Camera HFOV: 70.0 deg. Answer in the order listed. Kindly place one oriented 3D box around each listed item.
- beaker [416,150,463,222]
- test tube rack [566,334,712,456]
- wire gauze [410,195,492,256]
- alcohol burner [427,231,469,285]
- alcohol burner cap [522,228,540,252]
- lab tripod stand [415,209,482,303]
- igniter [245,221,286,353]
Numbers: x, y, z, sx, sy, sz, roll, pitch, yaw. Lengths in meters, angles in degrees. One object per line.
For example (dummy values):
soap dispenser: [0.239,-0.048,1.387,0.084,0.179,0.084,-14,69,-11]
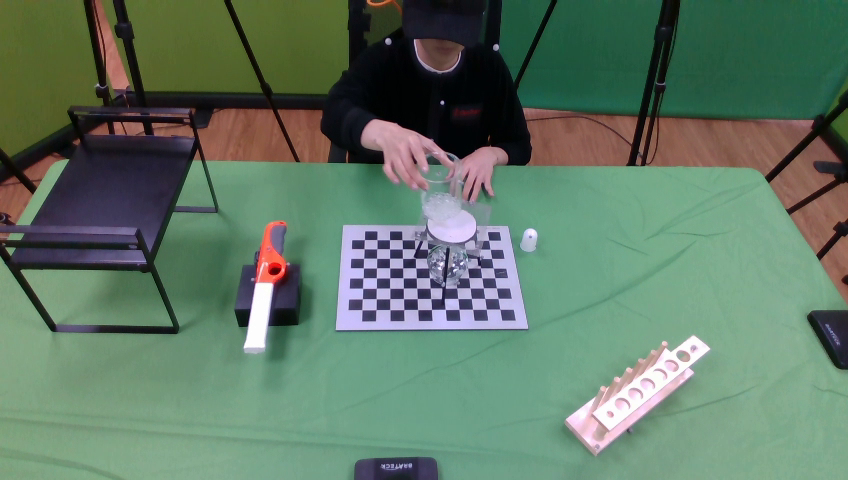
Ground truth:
beaker: [0.028,-0.088,1.002,0.074,0.101,0.083,4,49,9]
test tube rack: [0.338,0.228,0.951,0.242,0.085,0.066,-26,52,-26]
wire gauze: [0.049,-0.031,1.051,0.125,0.011,0.121,12,47,10]
alcohol burner: [0.046,0.027,1.103,0.078,0.119,0.077,3,45,-3]
alcohol burner cap: [0.214,-0.003,1.198,0.034,0.048,0.033,1,46,-1]
lab tripod stand: [0.043,0.019,1.097,0.148,0.132,0.147,0,46,0]
igniter: [-0.270,0.070,1.040,0.057,0.025,0.274,2,48,-6]
